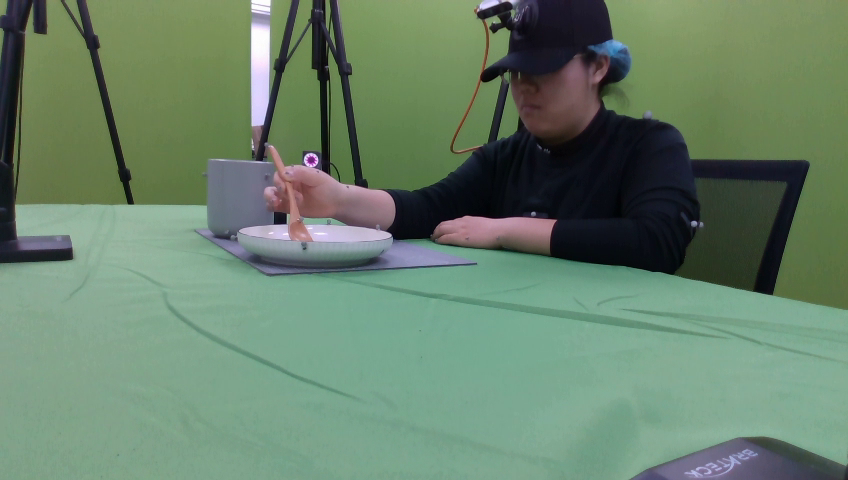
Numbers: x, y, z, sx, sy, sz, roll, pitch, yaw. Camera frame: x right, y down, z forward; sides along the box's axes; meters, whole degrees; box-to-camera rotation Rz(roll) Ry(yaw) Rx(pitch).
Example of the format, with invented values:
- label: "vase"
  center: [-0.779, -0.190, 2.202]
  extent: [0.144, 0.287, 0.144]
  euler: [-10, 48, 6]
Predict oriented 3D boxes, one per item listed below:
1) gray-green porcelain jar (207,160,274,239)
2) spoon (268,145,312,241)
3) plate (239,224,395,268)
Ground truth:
- label: "gray-green porcelain jar"
  center: [-0.304, -0.068, 1.003]
  extent: [0.106, 0.126, 0.106]
  euler: [3, 7, 0]
- label: "spoon"
  center: [-0.190, -0.061, 0.852]
  extent: [0.021, 0.193, 0.042]
  euler: [-36, -30, 29]
- label: "plate"
  center: [-0.144, 0.007, 0.823]
  extent: [0.208, 0.039, 0.207]
  euler: [3, 7, 0]
